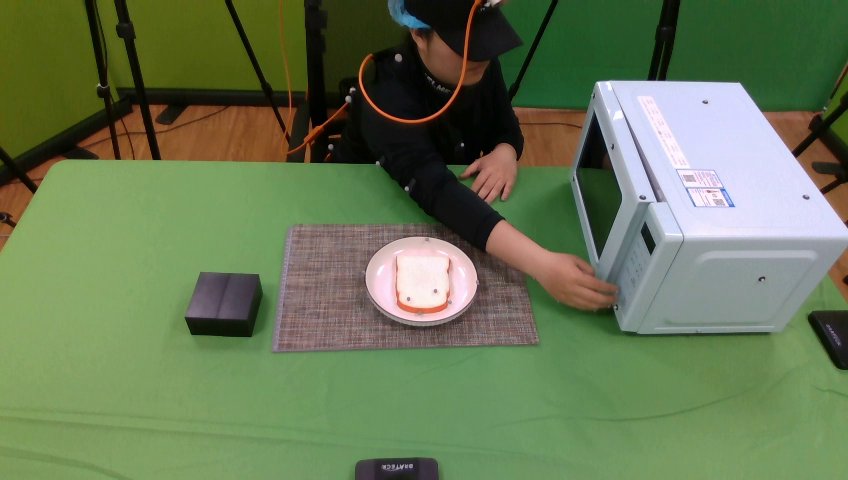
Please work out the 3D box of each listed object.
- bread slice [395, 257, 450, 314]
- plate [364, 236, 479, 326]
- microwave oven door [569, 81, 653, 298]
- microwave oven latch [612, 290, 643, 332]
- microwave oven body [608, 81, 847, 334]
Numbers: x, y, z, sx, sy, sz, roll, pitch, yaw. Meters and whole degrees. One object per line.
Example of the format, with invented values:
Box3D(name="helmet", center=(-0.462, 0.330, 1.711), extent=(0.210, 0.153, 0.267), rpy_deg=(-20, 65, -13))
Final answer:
Box3D(name="bread slice", center=(-0.001, 0.080, 1.109), extent=(0.105, 0.019, 0.130), rpy_deg=(1, 45, -2))
Box3D(name="plate", center=(-0.004, 0.078, 1.107), extent=(0.209, 0.038, 0.208), rpy_deg=(2, 46, -2))
Box3D(name="microwave oven door", center=(0.344, -0.104, 1.146), extent=(0.039, 0.245, 0.353), rpy_deg=(2, 46, -2))
Box3D(name="microwave oven latch", center=(0.357, 0.124, 1.068), extent=(0.030, 0.029, 0.078), rpy_deg=(-1, 45, -3))
Box3D(name="microwave oven body", center=(0.501, -0.070, 1.132), extent=(0.326, 0.261, 0.438), rpy_deg=(-1, 45, -4))
